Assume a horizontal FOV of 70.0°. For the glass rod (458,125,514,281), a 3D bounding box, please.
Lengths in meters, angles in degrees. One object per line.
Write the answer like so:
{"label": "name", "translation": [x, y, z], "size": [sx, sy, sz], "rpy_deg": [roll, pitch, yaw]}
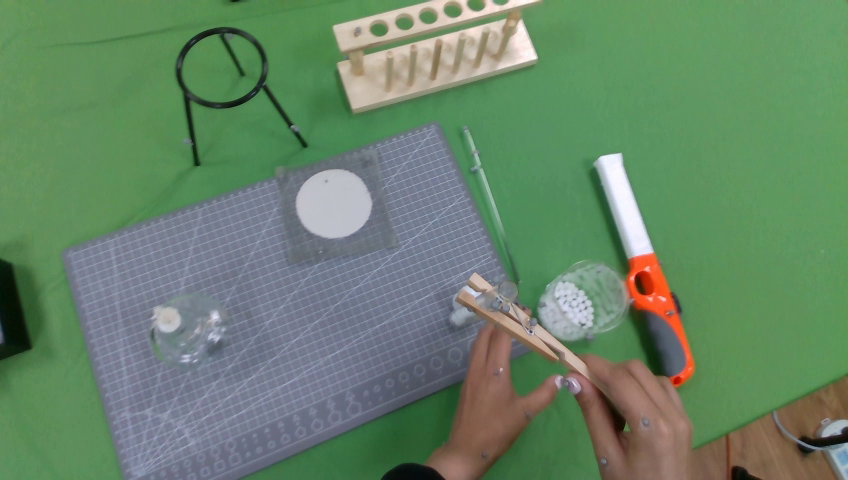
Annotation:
{"label": "glass rod", "translation": [0.073, -0.046, 0.718], "size": [0.008, 0.008, 0.199], "rpy_deg": [-16, 79, -9]}

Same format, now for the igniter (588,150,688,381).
{"label": "igniter", "translation": [0.248, 0.024, 0.704], "size": [0.057, 0.025, 0.275], "rpy_deg": [-10, 76, -18]}

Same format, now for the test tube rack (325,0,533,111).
{"label": "test tube rack", "translation": [0.012, -0.234, 0.725], "size": [0.242, 0.085, 0.066], "rpy_deg": [-18, 76, -9]}

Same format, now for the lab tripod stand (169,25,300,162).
{"label": "lab tripod stand", "translation": [-0.213, -0.153, 0.659], "size": [0.148, 0.132, 0.147], "rpy_deg": [1, 76, -5]}

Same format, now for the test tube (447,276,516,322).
{"label": "test tube", "translation": [0.041, 0.049, 0.472], "size": [0.017, 0.150, 0.017], "rpy_deg": [3, 76, -11]}

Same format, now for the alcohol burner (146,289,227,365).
{"label": "alcohol burner", "translation": [-0.240, 0.084, 0.600], "size": [0.078, 0.119, 0.077], "rpy_deg": [1, 74, -2]}

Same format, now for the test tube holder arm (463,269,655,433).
{"label": "test tube holder arm", "translation": [0.100, 0.083, 0.451], "size": [0.178, 0.015, 0.013], "rpy_deg": [39, 73, 1]}

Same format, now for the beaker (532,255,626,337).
{"label": "beaker", "translation": [0.158, 0.064, 0.649], "size": [0.084, 0.100, 0.073], "rpy_deg": [10, 73, -1]}

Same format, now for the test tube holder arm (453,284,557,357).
{"label": "test tube holder arm", "translation": [0.061, 0.060, 0.450], "size": [0.088, 0.015, 0.010], "rpy_deg": [32, 72, -1]}

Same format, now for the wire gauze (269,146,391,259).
{"label": "wire gauze", "translation": [-0.110, -0.043, 0.700], "size": [0.125, 0.011, 0.121], "rpy_deg": [-10, 77, -8]}

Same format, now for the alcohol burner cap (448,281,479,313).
{"label": "alcohol burner cap", "translation": [0.045, 0.060, 0.667], "size": [0.034, 0.048, 0.033], "rpy_deg": [1, 74, -4]}
